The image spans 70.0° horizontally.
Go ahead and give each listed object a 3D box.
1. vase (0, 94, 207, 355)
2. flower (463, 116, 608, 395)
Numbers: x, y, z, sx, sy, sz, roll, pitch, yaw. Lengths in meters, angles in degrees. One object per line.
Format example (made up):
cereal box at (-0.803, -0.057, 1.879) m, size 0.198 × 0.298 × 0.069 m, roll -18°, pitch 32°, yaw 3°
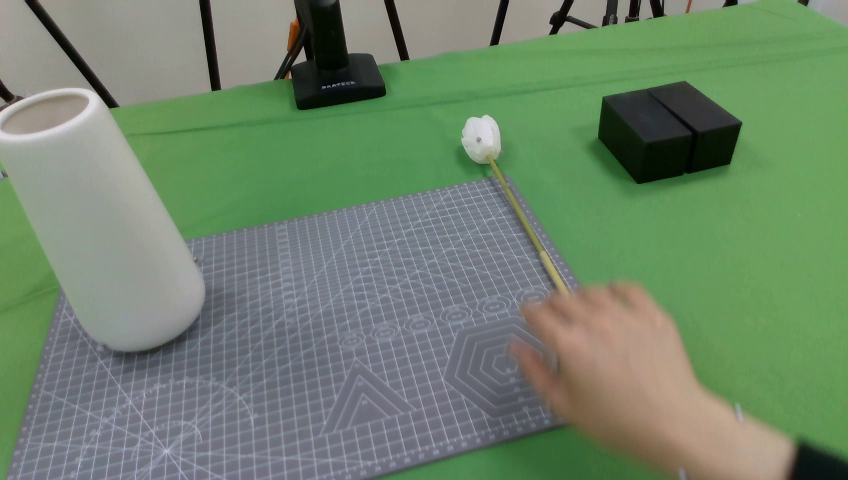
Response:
vase at (-0.236, -0.005, 0.458) m, size 0.098 × 0.202 × 0.097 m, roll -3°, pitch 39°, yaw 2°
flower at (0.098, -0.008, 0.573) m, size 0.044 × 0.038 × 0.357 m, roll -34°, pitch 43°, yaw 17°
